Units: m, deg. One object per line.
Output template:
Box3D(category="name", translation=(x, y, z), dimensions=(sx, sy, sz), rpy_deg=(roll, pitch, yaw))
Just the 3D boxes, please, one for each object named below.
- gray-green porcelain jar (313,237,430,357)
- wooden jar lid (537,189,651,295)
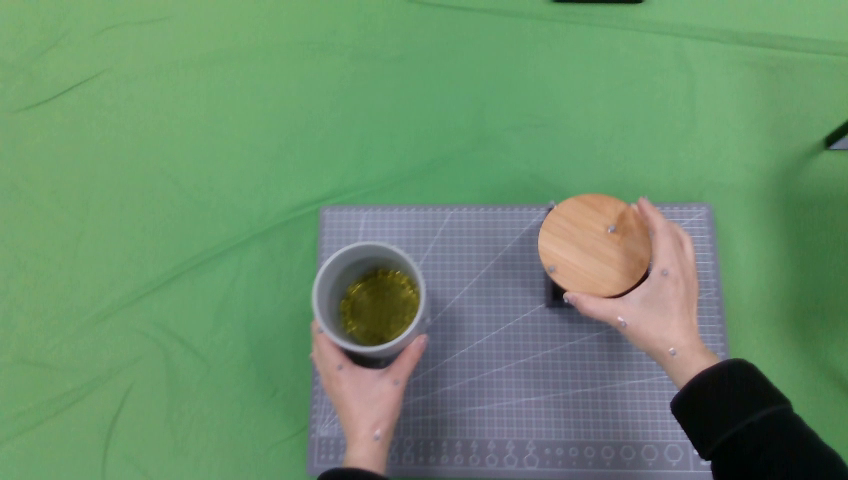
Box3D(category="gray-green porcelain jar", translation=(-0.047, 0.063, 0.615), dimensions=(0.106, 0.127, 0.105), rpy_deg=(-1, 75, 2))
Box3D(category="wooden jar lid", translation=(0.165, 0.003, 0.593), dimensions=(0.108, 0.021, 0.107), rpy_deg=(-2, 72, 6))
